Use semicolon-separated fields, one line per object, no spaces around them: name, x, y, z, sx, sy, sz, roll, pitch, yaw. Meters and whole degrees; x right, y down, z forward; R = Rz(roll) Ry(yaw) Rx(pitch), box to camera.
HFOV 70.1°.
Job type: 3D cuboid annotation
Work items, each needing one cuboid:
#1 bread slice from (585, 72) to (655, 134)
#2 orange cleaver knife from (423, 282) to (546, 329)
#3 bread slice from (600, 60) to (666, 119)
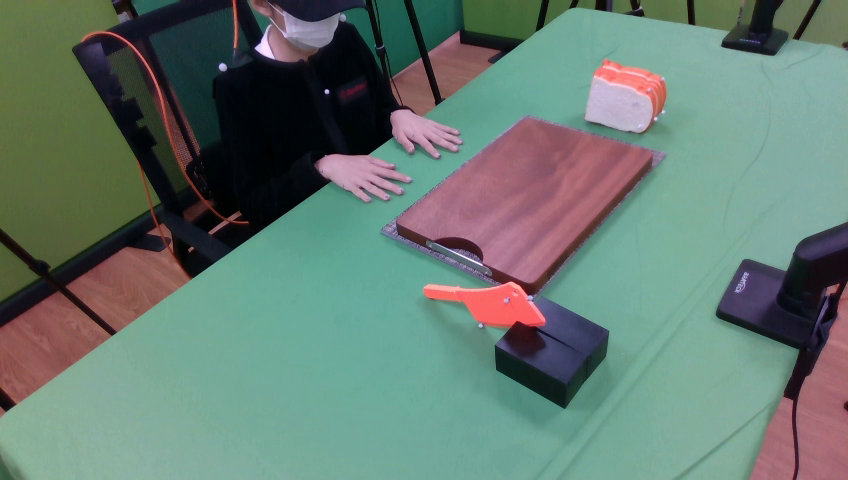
bread slice;0.375;-0.257;1.156;0.130;0.105;0.019;25;53;25
orange cleaver knife;0.075;0.087;0.814;0.012;0.077;0.210;-41;22;-31
bread slice;0.403;-0.285;1.186;0.133;0.107;0.018;23;55;21
